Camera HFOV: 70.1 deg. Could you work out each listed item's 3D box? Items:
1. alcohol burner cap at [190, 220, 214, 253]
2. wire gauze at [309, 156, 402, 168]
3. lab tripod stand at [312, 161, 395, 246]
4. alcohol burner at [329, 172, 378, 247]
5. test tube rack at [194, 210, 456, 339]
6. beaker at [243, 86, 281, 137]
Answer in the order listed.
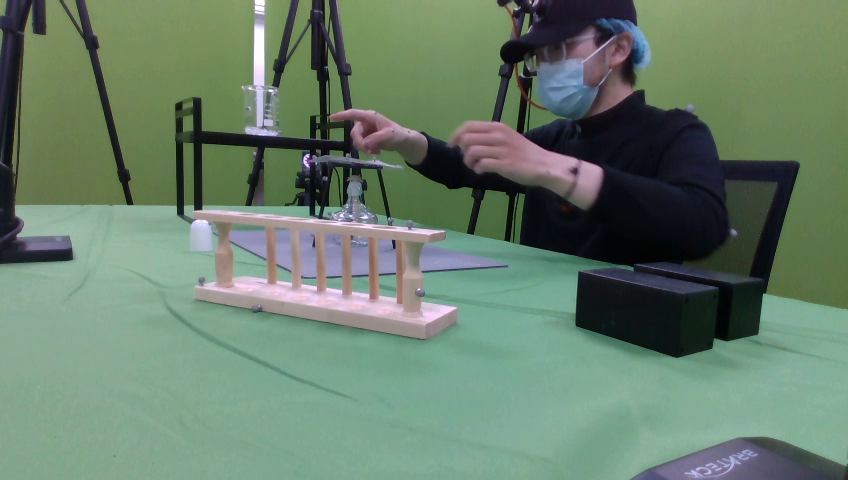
[{"bbox_3d":[-0.321,-0.006,0.875,0.034,0.048,0.034,4,8,0],"label":"alcohol burner cap"},{"bbox_3d":[-0.111,-0.124,0.956,0.125,0.011,0.121,2,7,-22],"label":"wire gauze"},{"bbox_3d":[-0.110,-0.058,0.970,0.148,0.131,0.148,4,6,0],"label":"lab tripod stand"},{"bbox_3d":[-0.113,-0.049,0.972,0.078,0.119,0.078,1,9,0],"label":"alcohol burner"},{"bbox_3d":[-0.093,0.023,0.545,0.241,0.085,0.067,6,8,25],"label":"test tube rack"},{"bbox_3d":[-0.338,-0.265,1.252,0.073,0.100,0.084,8,9,38],"label":"beaker"}]
